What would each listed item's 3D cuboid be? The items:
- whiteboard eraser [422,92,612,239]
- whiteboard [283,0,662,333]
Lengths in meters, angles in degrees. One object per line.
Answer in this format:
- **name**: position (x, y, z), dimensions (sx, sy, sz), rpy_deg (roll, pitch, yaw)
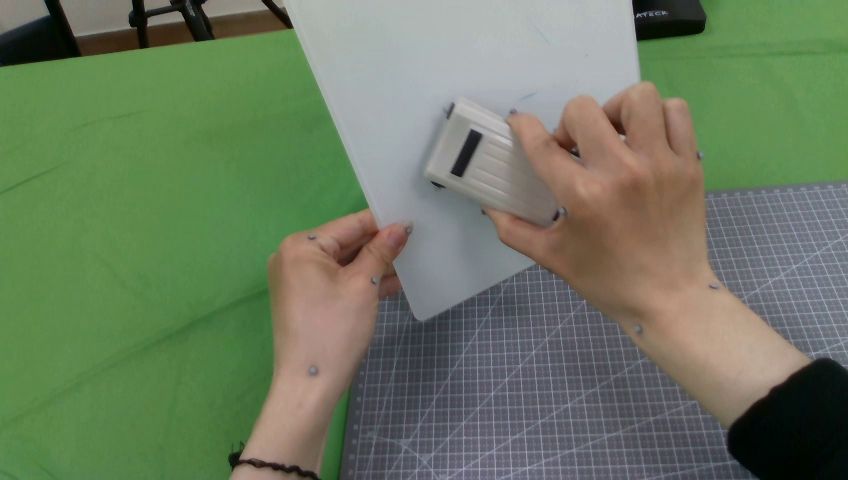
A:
- **whiteboard eraser**: position (0.058, -0.047, 0.390), dimensions (0.113, 0.056, 0.041), rpy_deg (23, 25, -7)
- **whiteboard**: position (0.025, -0.128, 0.445), dimensions (0.217, 0.308, 0.142), rpy_deg (-26, 31, -9)
